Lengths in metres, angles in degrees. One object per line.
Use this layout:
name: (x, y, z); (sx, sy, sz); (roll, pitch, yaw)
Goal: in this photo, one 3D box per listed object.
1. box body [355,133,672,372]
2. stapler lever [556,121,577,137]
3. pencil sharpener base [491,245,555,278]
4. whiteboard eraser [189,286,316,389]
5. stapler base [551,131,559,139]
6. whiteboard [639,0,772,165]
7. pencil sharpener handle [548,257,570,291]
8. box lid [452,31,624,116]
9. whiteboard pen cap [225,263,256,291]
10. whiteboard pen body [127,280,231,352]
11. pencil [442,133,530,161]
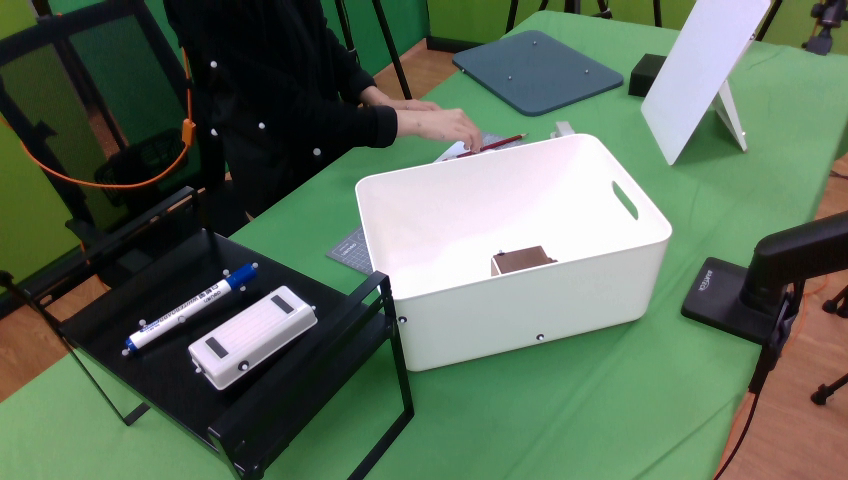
box body: (0.108, 0.013, 0.834); (0.365, 0.161, 0.252); (-12, 41, -6)
stapler lever: (0.266, -0.198, 1.128); (0.027, 0.040, 0.117); (0, 38, 3)
pencil sharpener base: (0.134, 0.068, 0.800); (0.077, 0.107, 0.061); (-12, 42, -7)
whiteboard eraser: (-0.166, 0.096, 0.593); (0.113, 0.042, 0.055); (-36, 47, -29)
stapler base: (0.268, -0.178, 1.142); (0.041, 0.024, 0.130); (1, 37, 3)
whiteboard: (0.543, -0.298, 1.076); (0.144, 0.305, 0.216); (12, 40, -7)
pencil sharpener handle: (0.182, 0.045, 0.801); (0.031, 0.068, 0.035); (-12, 57, -7)
box lid: (0.256, -0.401, 1.419); (0.264, 0.015, 0.368); (-22, 43, -17)
whiteboard pen cap: (-0.204, 0.041, 0.668); (0.033, 0.018, 0.018); (-36, 48, -22)
whiteboard pen body: (-0.248, 0.072, 0.645); (0.141, 0.017, 0.017); (-35, 47, -23)
pencil: (0.123, -0.180, 1.175); (0.195, 0.012, 0.012); (-20, 42, -17)
